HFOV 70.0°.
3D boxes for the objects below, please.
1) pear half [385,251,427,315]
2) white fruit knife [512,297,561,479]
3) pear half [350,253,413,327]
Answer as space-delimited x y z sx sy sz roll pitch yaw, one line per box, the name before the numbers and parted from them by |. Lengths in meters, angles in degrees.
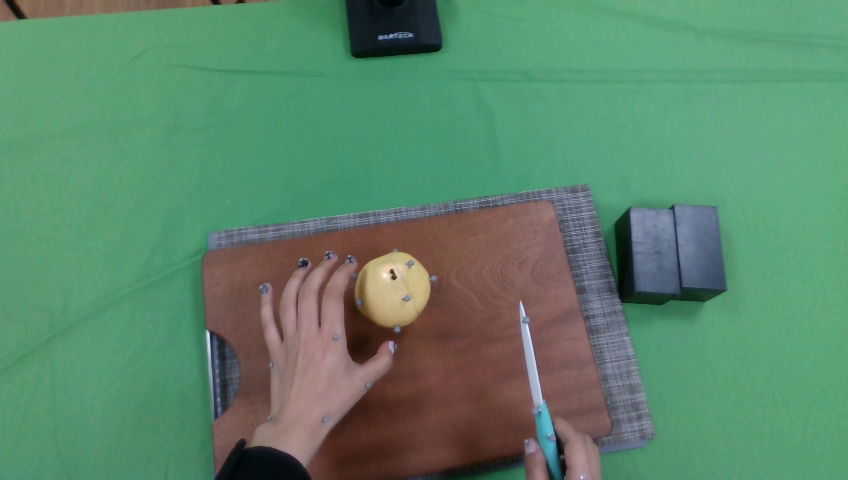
pear half | -0.015 0.038 0.621 0.031 0.088 0.070 -30 70 -12
white fruit knife | 0.100 0.149 0.541 0.016 0.027 0.208 -15 100 -14
pear half | -0.046 0.051 0.604 0.056 0.110 0.076 -30 72 -12
